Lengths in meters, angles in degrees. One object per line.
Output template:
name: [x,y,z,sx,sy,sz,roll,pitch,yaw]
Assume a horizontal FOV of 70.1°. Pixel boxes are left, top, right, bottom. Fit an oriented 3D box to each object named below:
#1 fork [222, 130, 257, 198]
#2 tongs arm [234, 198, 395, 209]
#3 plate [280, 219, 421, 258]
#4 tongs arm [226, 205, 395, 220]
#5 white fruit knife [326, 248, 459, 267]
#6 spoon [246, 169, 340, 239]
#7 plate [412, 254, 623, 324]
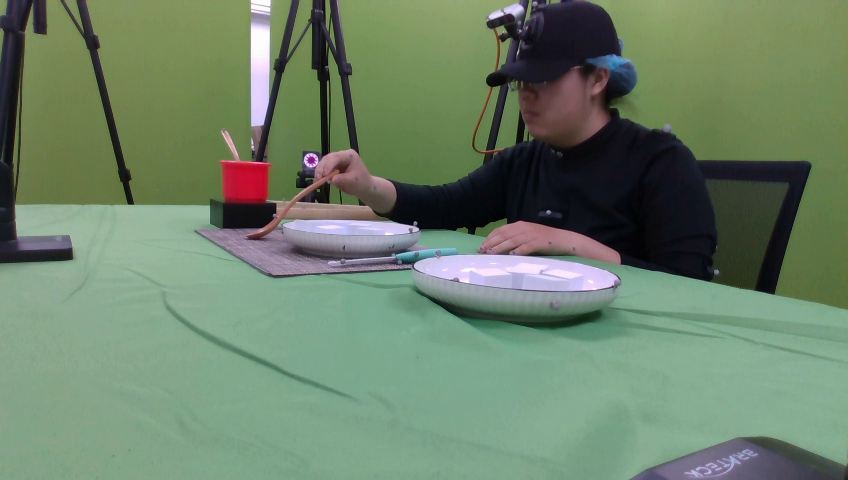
fork: [-0.368,-0.152,1.193,0.028,0.018,0.206,-8,54,-30]
tongs arm: [-0.263,-0.076,1.460,0.386,0.026,0.050,3,7,-8]
plate: [-0.108,-0.002,0.902,0.208,0.039,0.207,3,7,0]
tongs arm: [-0.247,-0.062,1.382,0.389,0.028,0.028,0,5,-21]
white fruit knife: [-0.034,0.026,0.807,0.208,0.016,0.027,-4,-19,-34]
spoon: [-0.215,-0.062,1.008,0.194,0.022,0.041,-45,18,-19]
plate: [0.091,0.047,0.609,0.209,0.038,0.209,2,7,0]
